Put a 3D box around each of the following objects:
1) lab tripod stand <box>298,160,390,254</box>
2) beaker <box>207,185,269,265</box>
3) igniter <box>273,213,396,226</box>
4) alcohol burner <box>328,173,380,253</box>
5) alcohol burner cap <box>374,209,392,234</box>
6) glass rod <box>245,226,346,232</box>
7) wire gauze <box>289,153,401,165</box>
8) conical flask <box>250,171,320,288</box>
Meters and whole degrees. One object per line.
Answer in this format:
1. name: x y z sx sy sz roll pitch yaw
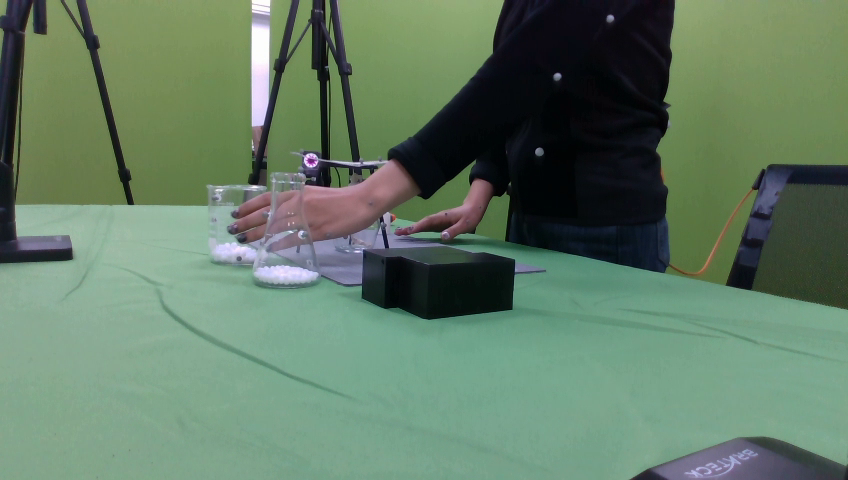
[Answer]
1. lab tripod stand: -0.111 -0.050 0.893 0.148 0.131 0.148 4 6 0
2. beaker: -0.244 -0.021 0.784 0.083 0.100 0.074 6 8 30
3. igniter: -0.179 -0.044 1.258 0.278 0.025 0.057 -3 -2 -38
4. alcohol burner: -0.104 -0.041 0.902 0.078 0.119 0.078 0 7 0
5. alcohol burner cap: -0.078 -0.036 1.148 0.034 0.048 0.034 2 7 0
6. glass rod: -0.237 -0.021 1.141 0.201 0.008 0.008 -3 8 -32
7. wire gauze: -0.113 -0.117 0.883 0.124 0.011 0.122 8 8 27
8. conical flask: -0.150 -0.013 0.658 0.075 0.122 0.075 2 7 0
